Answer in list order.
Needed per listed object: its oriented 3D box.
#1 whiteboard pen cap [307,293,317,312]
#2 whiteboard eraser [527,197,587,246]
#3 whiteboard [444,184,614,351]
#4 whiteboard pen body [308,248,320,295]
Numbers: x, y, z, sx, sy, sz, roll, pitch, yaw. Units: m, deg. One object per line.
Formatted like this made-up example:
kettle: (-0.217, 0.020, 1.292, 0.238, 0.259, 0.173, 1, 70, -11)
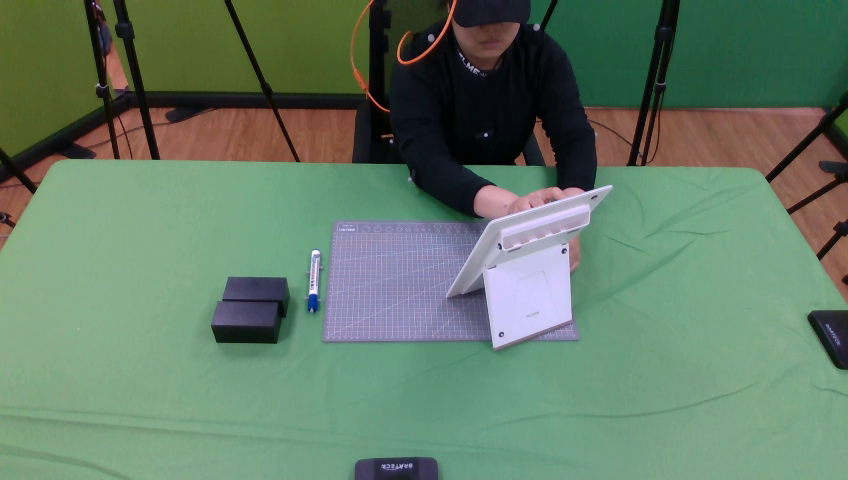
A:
whiteboard pen cap: (-0.199, 0.110, 1.078, 0.018, 0.018, 0.033, -2, 47, -6)
whiteboard eraser: (0.231, -0.028, 1.051, 0.056, 0.113, 0.041, -12, 67, -31)
whiteboard: (0.186, 0.065, 0.989, 0.217, 0.306, 0.143, -16, 68, -19)
whiteboard pen body: (-0.204, 0.069, 1.119, 0.017, 0.017, 0.140, -1, 46, -5)
